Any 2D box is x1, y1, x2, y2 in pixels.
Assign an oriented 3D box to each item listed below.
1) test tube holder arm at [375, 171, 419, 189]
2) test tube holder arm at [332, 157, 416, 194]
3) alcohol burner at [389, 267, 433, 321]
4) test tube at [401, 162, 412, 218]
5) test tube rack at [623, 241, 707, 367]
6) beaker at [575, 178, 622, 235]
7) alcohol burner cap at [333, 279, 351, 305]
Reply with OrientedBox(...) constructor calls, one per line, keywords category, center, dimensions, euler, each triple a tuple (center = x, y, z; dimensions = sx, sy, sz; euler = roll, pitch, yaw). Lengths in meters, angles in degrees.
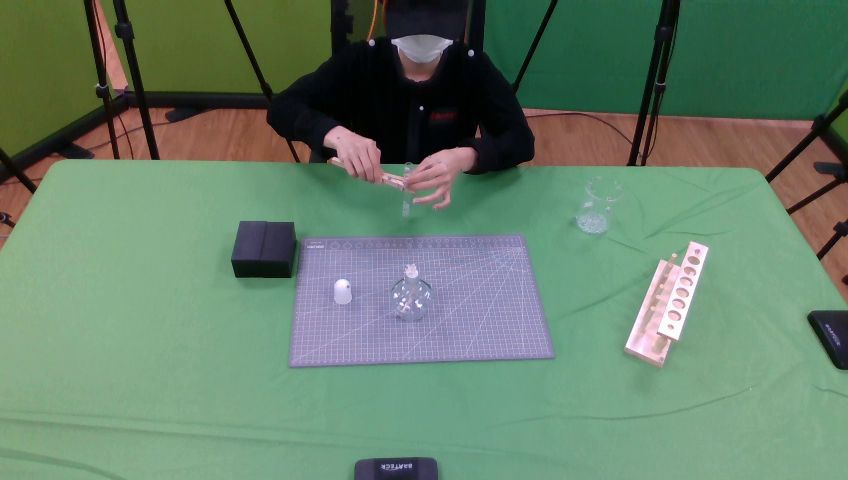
OrientedBox(category="test tube holder arm", center=(-0.053, -0.115, 1.157), dimensions=(0.088, 0.015, 0.010), euler=(13, 51, 5))
OrientedBox(category="test tube holder arm", center=(-0.097, -0.124, 1.161), dimensions=(0.178, 0.015, 0.013), euler=(20, 51, 11))
OrientedBox(category="alcohol burner", center=(-0.022, 0.085, 1.046), dimensions=(0.078, 0.119, 0.077), euler=(2, 48, -2))
OrientedBox(category="test tube", center=(-0.035, -0.093, 1.166), dimensions=(0.017, 0.151, 0.017), euler=(3, 53, -3))
OrientedBox(category="test tube rack", center=(0.435, 0.104, 1.089), dimensions=(0.066, 0.085, 0.242), euler=(24, 49, 19))
OrientedBox(category="beaker", center=(0.356, -0.068, 1.239), dimensions=(0.084, 0.101, 0.073), euler=(-18, 50, -21))
OrientedBox(category="alcohol burner cap", center=(-0.147, 0.090, 1.083), dimensions=(0.034, 0.048, 0.033), euler=(2, 46, -2))
